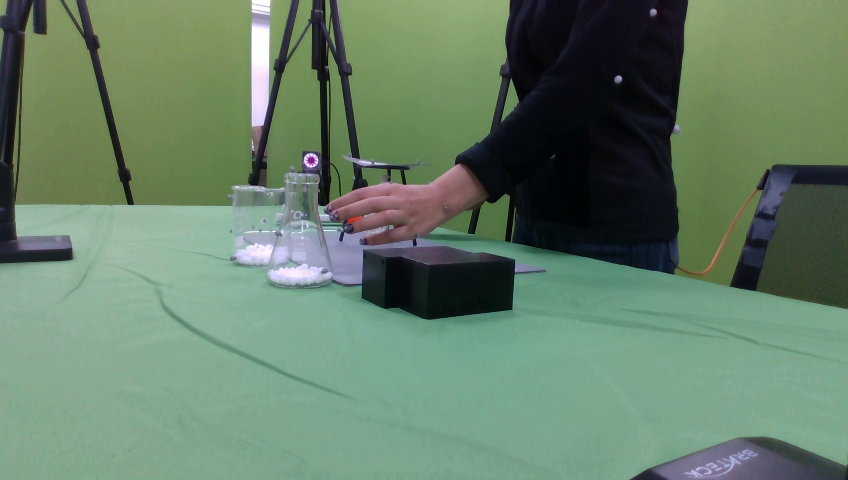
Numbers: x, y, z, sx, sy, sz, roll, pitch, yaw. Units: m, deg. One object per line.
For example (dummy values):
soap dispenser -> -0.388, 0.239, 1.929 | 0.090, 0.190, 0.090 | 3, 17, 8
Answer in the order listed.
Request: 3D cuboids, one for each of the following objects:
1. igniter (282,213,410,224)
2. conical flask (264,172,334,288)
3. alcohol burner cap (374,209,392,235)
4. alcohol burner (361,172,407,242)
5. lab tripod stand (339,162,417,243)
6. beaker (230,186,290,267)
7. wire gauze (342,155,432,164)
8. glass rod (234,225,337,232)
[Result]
igniter -> -0.159, -0.046, 1.287 | 0.278, 0.025, 0.057 | -1, -3, -21
conical flask -> -0.136, -0.013, 0.661 | 0.075, 0.122, 0.075 | 2, 7, 0
alcohol burner cap -> -0.078, -0.036, 1.148 | 0.034, 0.048, 0.034 | 2, 8, 0
alcohol burner -> -0.067, -0.056, 1.030 | 0.078, 0.119, 0.078 | 3, 9, 0
lab tripod stand -> -0.067, -0.065, 1.027 | 0.148, 0.131, 0.148 | 4, 7, 0
beaker -> -0.209, -0.019, 0.778 | 0.074, 0.100, 0.084 | 3, 6, 4
wire gauze -> -0.065, -0.131, 1.017 | 0.122, 0.011, 0.124 | 1, 9, -26
glass rod -> -0.256, -0.022, 1.136 | 0.201, 0.008, 0.008 | -3, 8, -33
